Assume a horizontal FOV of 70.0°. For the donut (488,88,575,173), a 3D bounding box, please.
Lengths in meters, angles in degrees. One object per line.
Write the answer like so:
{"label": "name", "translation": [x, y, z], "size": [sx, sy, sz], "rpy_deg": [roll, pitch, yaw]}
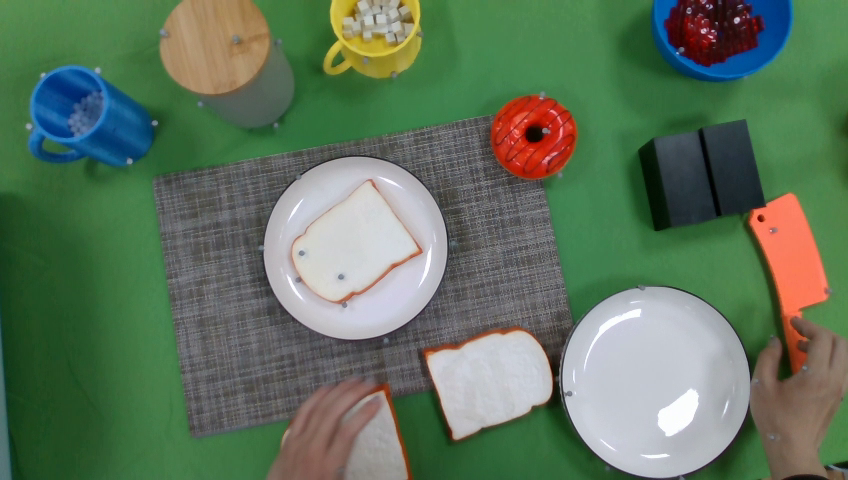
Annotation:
{"label": "donut", "translation": [0.122, -0.124, 0.691], "size": [0.099, 0.048, 0.099], "rpy_deg": [0, 86, 0]}

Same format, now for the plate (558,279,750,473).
{"label": "plate", "translation": [0.250, 0.148, 0.674], "size": [0.209, 0.038, 0.208], "rpy_deg": [0, 85, 1]}

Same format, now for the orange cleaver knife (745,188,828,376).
{"label": "orange cleaver knife", "translation": [0.422, 0.045, 0.691], "size": [0.077, 0.012, 0.210], "rpy_deg": [-10, 83, -7]}

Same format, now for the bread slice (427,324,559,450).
{"label": "bread slice", "translation": [0.082, 0.150, 0.649], "size": [0.134, 0.018, 0.106], "rpy_deg": [-17, 82, -21]}

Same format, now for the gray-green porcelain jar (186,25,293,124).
{"label": "gray-green porcelain jar", "translation": [-0.205, -0.190, 0.662], "size": [0.106, 0.127, 0.105], "rpy_deg": [0, 84, 1]}

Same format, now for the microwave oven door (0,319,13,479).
{"label": "microwave oven door", "translation": [-0.483, 0.169, 0.557], "size": [0.039, 0.244, 0.355], "rpy_deg": [-8, 85, 0]}

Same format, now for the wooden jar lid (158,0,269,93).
{"label": "wooden jar lid", "translation": [-0.206, -0.196, 0.600], "size": [0.108, 0.021, 0.108], "rpy_deg": [0, 83, 1]}

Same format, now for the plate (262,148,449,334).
{"label": "plate", "translation": [-0.075, 0.002, 0.685], "size": [0.208, 0.039, 0.207], "rpy_deg": [0, 85, 1]}

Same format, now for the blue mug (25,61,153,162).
{"label": "blue mug", "translation": [-0.376, -0.128, 0.668], "size": [0.116, 0.106, 0.082], "rpy_deg": [-36, 85, -2]}

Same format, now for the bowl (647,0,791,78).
{"label": "bowl", "translation": [0.319, -0.247, 0.687], "size": [0.151, 0.077, 0.151], "rpy_deg": [0, 85, 1]}

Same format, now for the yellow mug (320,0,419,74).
{"label": "yellow mug", "translation": [-0.068, -0.240, 0.696], "size": [0.131, 0.064, 0.100], "rpy_deg": [-42, 86, -2]}

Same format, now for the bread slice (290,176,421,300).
{"label": "bread slice", "translation": [-0.084, 0.005, 0.687], "size": [0.131, 0.019, 0.104], "rpy_deg": [-37, 85, -4]}
